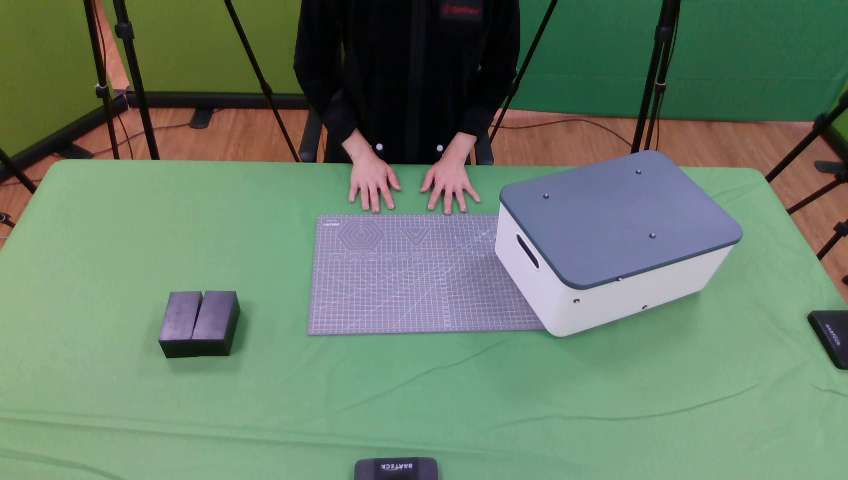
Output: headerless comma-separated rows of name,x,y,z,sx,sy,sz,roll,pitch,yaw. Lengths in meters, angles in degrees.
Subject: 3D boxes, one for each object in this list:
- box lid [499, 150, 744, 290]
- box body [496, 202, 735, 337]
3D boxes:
box lid,0.341,-0.049,1.065,0.372,0.015,0.261,-15,48,-18
box body,0.340,0.004,1.118,0.364,0.161,0.252,-15,49,-18
